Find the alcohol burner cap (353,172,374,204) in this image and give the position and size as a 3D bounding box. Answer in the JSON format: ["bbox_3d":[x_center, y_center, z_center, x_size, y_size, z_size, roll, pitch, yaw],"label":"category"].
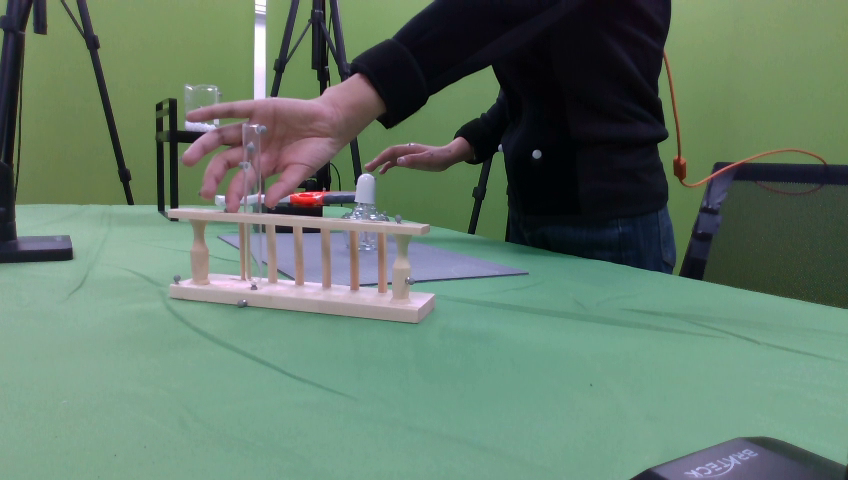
[{"bbox_3d":[-0.092,-0.081,0.935,0.034,0.048,0.034,6,10,-1],"label":"alcohol burner cap"}]

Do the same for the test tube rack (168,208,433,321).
[{"bbox_3d":[-0.115,0.018,0.574,0.242,0.085,0.067,4,8,13],"label":"test tube rack"}]

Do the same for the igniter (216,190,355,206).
[{"bbox_3d":[-0.248,-0.079,1.152,0.278,0.025,0.057,-4,12,-27],"label":"igniter"}]

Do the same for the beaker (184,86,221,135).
[{"bbox_3d":[-0.476,-0.277,1.296,0.074,0.100,0.084,2,8,-1],"label":"beaker"}]

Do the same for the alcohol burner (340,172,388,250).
[{"bbox_3d":[-0.094,-0.045,0.939,0.078,0.119,0.078,0,7,0],"label":"alcohol burner"}]

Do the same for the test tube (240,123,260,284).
[{"bbox_3d":[-0.160,-0.032,0.558,0.017,0.150,0.017,3,13,0],"label":"test tube"}]
